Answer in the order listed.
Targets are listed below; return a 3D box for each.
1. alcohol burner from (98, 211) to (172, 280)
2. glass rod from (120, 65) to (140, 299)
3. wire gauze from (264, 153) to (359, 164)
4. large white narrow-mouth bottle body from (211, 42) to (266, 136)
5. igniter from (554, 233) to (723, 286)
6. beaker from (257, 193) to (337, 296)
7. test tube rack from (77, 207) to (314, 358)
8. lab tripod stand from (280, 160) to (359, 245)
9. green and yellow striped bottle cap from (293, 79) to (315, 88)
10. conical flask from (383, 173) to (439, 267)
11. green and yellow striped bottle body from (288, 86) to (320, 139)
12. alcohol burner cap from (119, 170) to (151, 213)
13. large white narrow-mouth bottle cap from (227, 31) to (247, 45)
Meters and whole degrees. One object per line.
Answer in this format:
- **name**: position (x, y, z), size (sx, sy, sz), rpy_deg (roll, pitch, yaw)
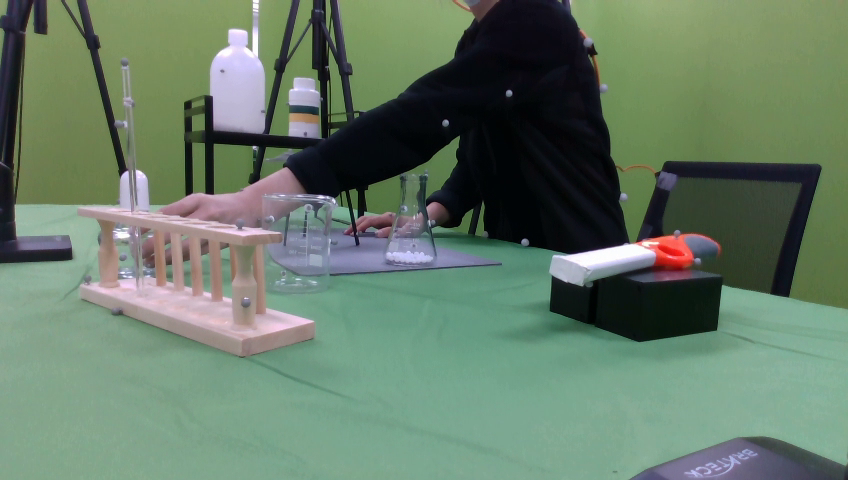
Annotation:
- **alcohol burner**: position (-0.317, -0.016, 0.668), size (0.078, 0.119, 0.078), rpy_deg (1, 7, 0)
- **glass rod**: position (-0.249, -0.047, 0.513), size (0.008, 0.199, 0.008), rpy_deg (-1, 4, 0)
- **wire gauze**: position (-0.181, -0.129, 0.969), size (0.126, 0.011, 0.121), rpy_deg (-1, 7, -27)
- **large white narrow-mouth bottle body**: position (-0.361, -0.302, 1.175), size (0.102, 0.194, 0.102), rpy_deg (1, 6, 0)
- **igniter**: position (0.214, 0.015, 0.570), size (0.278, 0.025, 0.057), rpy_deg (-5, 22, -44)
- **beaker**: position (-0.130, 0.003, 0.628), size (0.084, 0.100, 0.074), rpy_deg (5, 8, 15)
- **test tube rack**: position (-0.197, 0.023, 0.499), size (0.241, 0.085, 0.067), rpy_deg (8, 9, 37)
- **lab tripod stand**: position (-0.176, -0.062, 0.973), size (0.148, 0.131, 0.148), rpy_deg (0, 7, 0)
- **green and yellow striped bottle cap**: position (-0.248, -0.323, 1.256), size (0.045, 0.020, 0.045), rpy_deg (4, 8, 0)
- **conical flask**: position (-0.016, -0.028, 0.808), size (0.075, 0.122, 0.075), rpy_deg (2, 8, 0)
- **green and yellow striped bottle body**: position (-0.250, -0.272, 1.261), size (0.063, 0.119, 0.063), rpy_deg (3, 7, 0)
- **alcohol burner cap**: position (-0.318, -0.053, 0.662), size (0.034, 0.048, 0.034), rpy_deg (-3, 0, 0)
- **large white narrow-mouth bottle cap**: position (-0.360, -0.389, 1.166), size (0.038, 0.024, 0.037), rpy_deg (1, 6, 0)
